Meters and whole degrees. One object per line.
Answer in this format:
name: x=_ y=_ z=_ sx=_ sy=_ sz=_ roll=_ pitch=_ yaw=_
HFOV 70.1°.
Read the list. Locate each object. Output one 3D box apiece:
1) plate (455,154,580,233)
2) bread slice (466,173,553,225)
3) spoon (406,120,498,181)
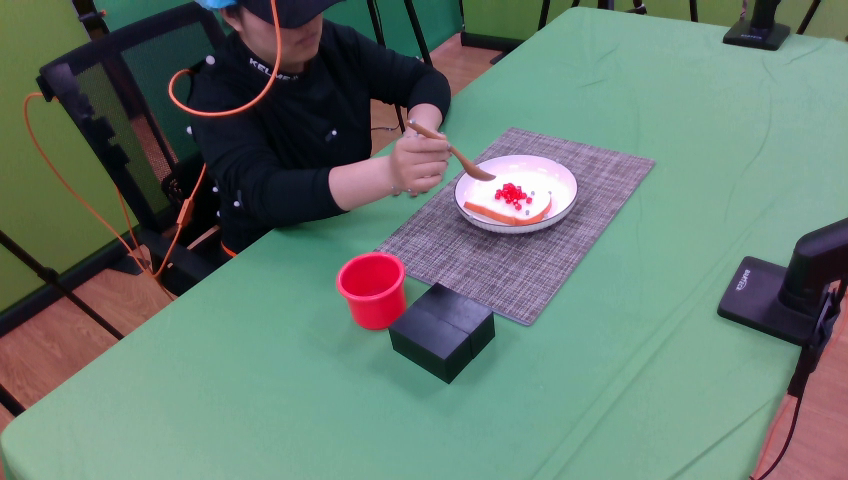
plate: x=0.159 y=-0.076 z=1.028 sx=0.209 sy=0.038 sz=0.208 roll=-5 pitch=40 yaw=5
bread slice: x=0.152 y=-0.068 z=1.022 sx=0.130 sy=0.019 sz=0.105 roll=23 pitch=50 yaw=33
spoon: x=0.042 y=-0.128 z=0.880 sx=0.041 sy=0.195 sz=0.021 roll=11 pitch=75 yaw=48
